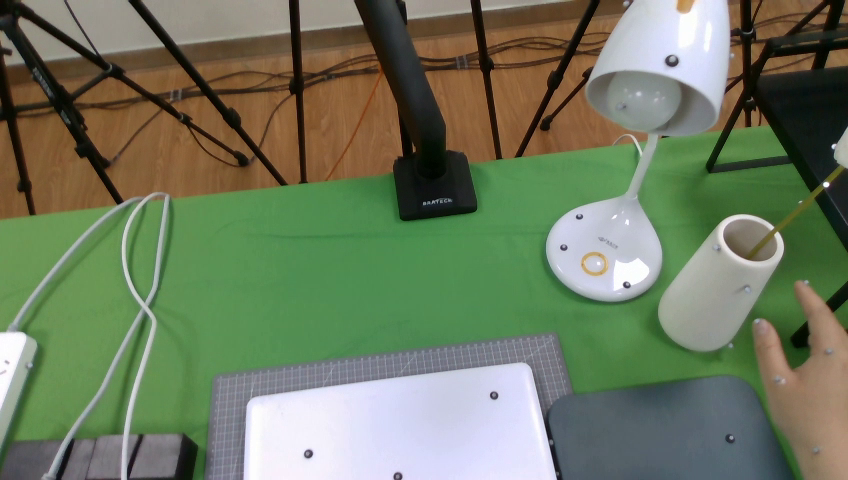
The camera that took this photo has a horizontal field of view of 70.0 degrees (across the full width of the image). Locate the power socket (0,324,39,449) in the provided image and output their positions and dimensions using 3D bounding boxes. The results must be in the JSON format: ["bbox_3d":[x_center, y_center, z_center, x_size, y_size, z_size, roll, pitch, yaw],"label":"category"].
[{"bbox_3d":[-0.548,0.207,0.749,0.072,0.033,0.224,-1,56,0],"label":"power socket"}]

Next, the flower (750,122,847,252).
[{"bbox_3d":[0.365,0.001,0.656,0.038,0.364,0.043,9,47,-10],"label":"flower"}]

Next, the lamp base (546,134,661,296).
[{"bbox_3d":[0.256,-0.043,0.800,0.160,0.182,0.178,22,57,16],"label":"lamp base"}]

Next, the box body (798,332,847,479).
[{"bbox_3d":[0.579,0.262,0.596,0.254,0.162,0.360,-5,56,0],"label":"box body"}]

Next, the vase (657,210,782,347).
[{"bbox_3d":[0.348,0.049,0.724,0.098,0.202,0.097,-2,55,3],"label":"vase"}]

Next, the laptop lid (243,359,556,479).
[{"bbox_3d":[-0.029,0.264,0.688,0.357,0.013,0.239,-5,59,-1],"label":"laptop lid"}]

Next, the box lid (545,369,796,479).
[{"bbox_3d":[0.295,0.323,0.656,0.263,0.015,0.367,-7,57,-3],"label":"box lid"}]

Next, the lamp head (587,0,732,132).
[{"bbox_3d":[0.212,-0.168,0.524,0.112,0.113,0.122,19,77,14],"label":"lamp head"}]

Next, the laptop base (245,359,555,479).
[{"bbox_3d":[-0.029,0.268,0.699,0.354,0.023,0.233,-7,60,-3],"label":"laptop base"}]

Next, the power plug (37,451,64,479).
[{"bbox_3d":[-0.403,0.278,0.667,0.035,0.053,0.072,20,64,38],"label":"power plug"}]
